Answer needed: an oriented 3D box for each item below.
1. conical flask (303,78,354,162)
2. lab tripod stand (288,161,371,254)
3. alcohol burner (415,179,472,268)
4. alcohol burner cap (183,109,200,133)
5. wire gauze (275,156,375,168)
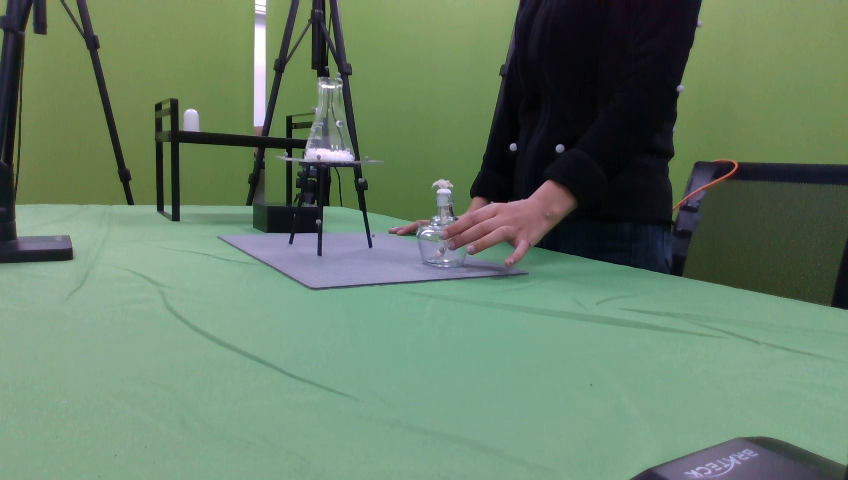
[{"bbox_3d":[-0.140,-0.175,0.892,0.075,0.122,0.075,1,7,0],"label":"conical flask"},{"bbox_3d":[-0.148,-0.052,0.908,0.148,0.131,0.148,1,8,0],"label":"lab tripod stand"},{"bbox_3d":[0.027,-0.022,0.816,0.078,0.119,0.078,1,7,0],"label":"alcohol burner"},{"bbox_3d":[-0.472,-0.241,1.229,0.034,0.048,0.034,3,8,0],"label":"alcohol burner cap"},{"bbox_3d":[-0.142,-0.116,0.899,0.122,0.011,0.124,-1,5,-36],"label":"wire gauze"}]
